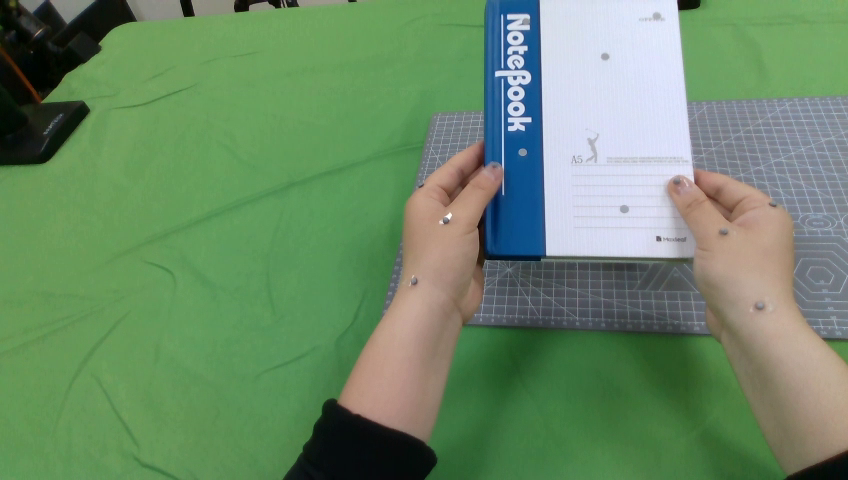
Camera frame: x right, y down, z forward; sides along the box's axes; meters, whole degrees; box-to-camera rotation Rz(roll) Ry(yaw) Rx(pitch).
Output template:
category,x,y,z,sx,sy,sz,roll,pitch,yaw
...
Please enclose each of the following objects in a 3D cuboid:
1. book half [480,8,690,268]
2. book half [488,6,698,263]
category,x,y,z,sx,sy,sz,roll,pitch,yaw
book half,0.117,-0.082,0.454,0.148,0.016,0.209,1,72,3
book half,0.120,-0.084,0.447,0.143,0.007,0.209,1,72,3
